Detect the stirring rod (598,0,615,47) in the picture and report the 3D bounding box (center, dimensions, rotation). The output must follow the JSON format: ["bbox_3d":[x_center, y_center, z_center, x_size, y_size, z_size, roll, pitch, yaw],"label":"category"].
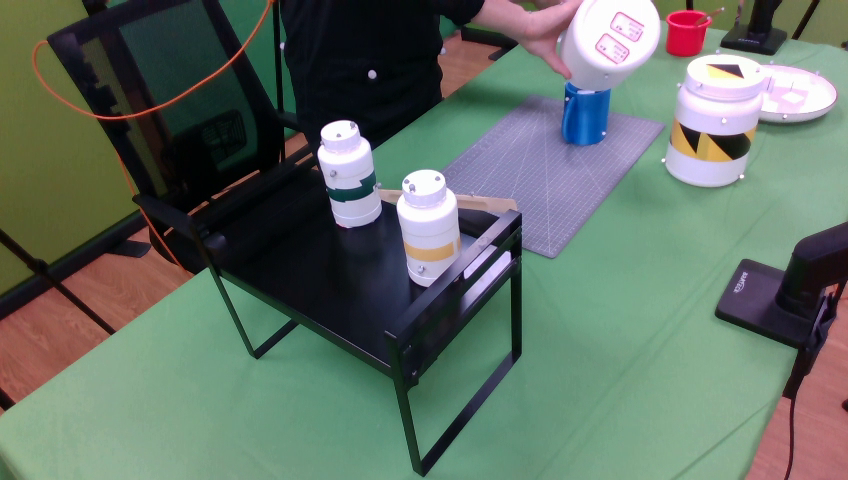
[{"bbox_3d":[0.437,-0.551,1.462,0.014,0.006,0.175,-11,83,1],"label":"stirring rod"}]

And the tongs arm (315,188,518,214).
[{"bbox_3d":[-0.028,-0.060,0.988,0.382,0.027,0.051,9,45,36],"label":"tongs arm"}]

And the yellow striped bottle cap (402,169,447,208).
[{"bbox_3d":[0.001,-0.052,0.604,0.044,0.019,0.044,-5,43,5],"label":"yellow striped bottle cap"}]

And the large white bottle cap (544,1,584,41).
[{"bbox_3d":[0.295,-0.429,1.190,0.114,0.115,0.018,0,78,9],"label":"large white bottle cap"}]

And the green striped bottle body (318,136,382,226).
[{"bbox_3d":[-0.090,-0.080,0.733,0.063,0.120,0.063,-5,41,4],"label":"green striped bottle body"}]

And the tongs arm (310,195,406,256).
[{"bbox_3d":[-0.078,-0.012,0.944,0.028,0.028,0.384,-43,39,-22],"label":"tongs arm"}]

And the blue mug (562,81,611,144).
[{"bbox_3d":[0.298,-0.239,1.143,0.081,0.106,0.117,30,54,36],"label":"blue mug"}]

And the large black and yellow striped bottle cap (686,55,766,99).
[{"bbox_3d":[0.474,-0.258,0.952,0.115,0.019,0.114,-5,41,5],"label":"large black and yellow striped bottle cap"}]

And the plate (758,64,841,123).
[{"bbox_3d":[0.695,-0.283,1.189,0.207,0.039,0.206,-4,40,4],"label":"plate"}]

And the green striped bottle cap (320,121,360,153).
[{"bbox_3d":[-0.097,-0.120,0.699,0.044,0.020,0.044,-3,39,3],"label":"green striped bottle cap"}]

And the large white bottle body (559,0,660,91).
[{"bbox_3d":[0.295,-0.319,0.993,0.130,0.130,0.184,-5,2,3],"label":"large white bottle body"}]

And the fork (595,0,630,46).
[{"bbox_3d":[0.480,-0.556,1.453,0.028,0.019,0.207,41,103,40],"label":"fork"}]

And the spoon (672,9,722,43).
[{"bbox_3d":[0.606,-0.476,1.345,0.042,0.021,0.193,-6,-3,-2],"label":"spoon"}]

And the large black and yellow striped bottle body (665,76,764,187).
[{"bbox_3d":[0.482,-0.196,1.008,0.131,0.185,0.130,-4,41,4],"label":"large black and yellow striped bottle body"}]

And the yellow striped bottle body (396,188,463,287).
[{"bbox_3d":[0.007,-0.013,0.638,0.063,0.121,0.062,-5,41,4],"label":"yellow striped bottle body"}]
